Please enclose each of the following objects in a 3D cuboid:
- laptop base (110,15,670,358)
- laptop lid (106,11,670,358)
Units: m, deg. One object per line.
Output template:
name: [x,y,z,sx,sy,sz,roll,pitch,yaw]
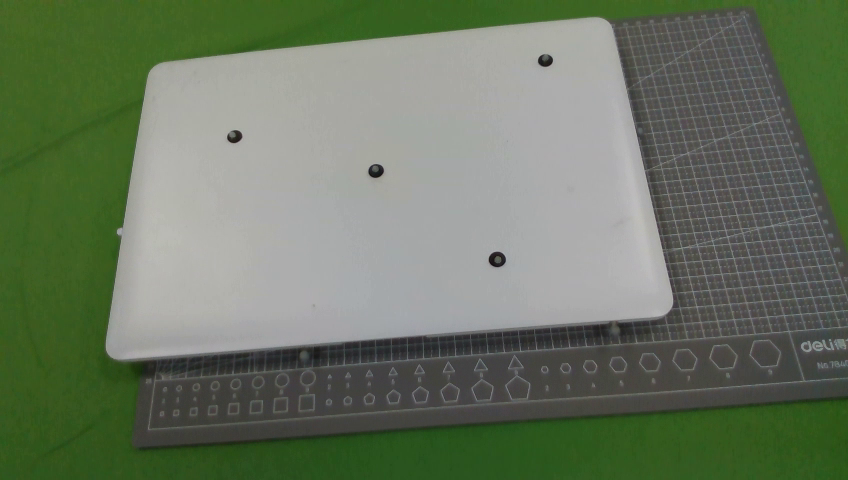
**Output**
laptop base: [-0.031,-0.045,0.424,0.354,0.023,0.233,-5,69,3]
laptop lid: [-0.032,-0.048,0.412,0.356,0.013,0.240,-4,68,4]
